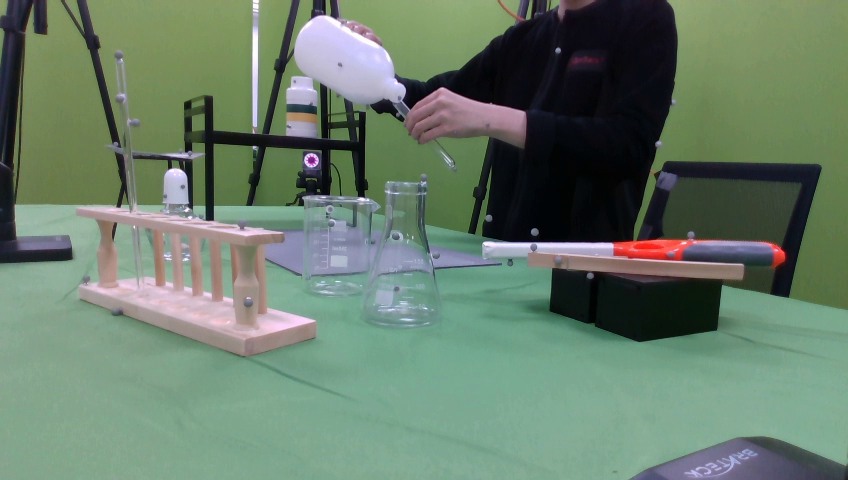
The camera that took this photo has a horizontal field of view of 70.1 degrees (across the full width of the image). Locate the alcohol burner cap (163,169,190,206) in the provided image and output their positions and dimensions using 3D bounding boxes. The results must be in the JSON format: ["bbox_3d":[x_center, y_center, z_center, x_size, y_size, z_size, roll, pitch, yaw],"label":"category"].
[{"bbox_3d":[-0.321,-0.068,0.782,0.034,0.048,0.034,1,7,0],"label":"alcohol burner cap"}]

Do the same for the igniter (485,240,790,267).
[{"bbox_3d":[0.197,0.012,0.585,0.276,0.025,0.057,1,5,12],"label":"igniter"}]

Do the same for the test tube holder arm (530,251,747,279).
[{"bbox_3d":[0.182,0.022,0.523,0.178,0.015,0.013,3,7,12],"label":"test tube holder arm"}]

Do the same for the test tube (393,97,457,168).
[{"bbox_3d":[0.001,-0.165,0.929,0.150,0.017,0.017,51,29,19],"label":"test tube"}]

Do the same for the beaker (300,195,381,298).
[{"bbox_3d":[-0.087,0.006,0.626,0.084,0.100,0.074,1,8,-17],"label":"beaker"}]

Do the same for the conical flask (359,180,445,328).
[{"bbox_3d":[-0.017,0.010,0.522,0.075,0.122,0.075,2,7,0],"label":"conical flask"}]

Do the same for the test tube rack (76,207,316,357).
[{"bbox_3d":[-0.196,0.023,0.500,0.241,0.085,0.067,8,9,36],"label":"test tube rack"}]

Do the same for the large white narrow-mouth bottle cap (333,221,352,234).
[{"bbox_3d":[-0.153,-0.024,1.134,0.038,0.024,0.037,4,7,0],"label":"large white narrow-mouth bottle cap"}]

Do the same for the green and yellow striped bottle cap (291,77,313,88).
[{"bbox_3d":[-0.250,-0.321,1.238,0.045,0.020,0.045,3,6,0],"label":"green and yellow striped bottle cap"}]

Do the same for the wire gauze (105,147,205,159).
[{"bbox_3d":[-0.407,-0.131,0.928,0.125,0.011,0.121,2,6,-11],"label":"wire gauze"}]

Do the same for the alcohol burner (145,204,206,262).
[{"bbox_3d":[-0.322,-0.032,0.788,0.078,0.119,0.078,0,7,0],"label":"alcohol burner"}]

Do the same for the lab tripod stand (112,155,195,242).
[{"bbox_3d":[-0.405,-0.064,0.931,0.148,0.131,0.148,1,6,0],"label":"lab tripod stand"}]

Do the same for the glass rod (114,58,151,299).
[{"bbox_3d":[-0.236,-0.044,0.492,0.008,0.199,0.008,0,15,0],"label":"glass rod"}]

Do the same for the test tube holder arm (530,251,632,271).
[{"bbox_3d":[0.139,0.019,0.538,0.087,0.015,0.010,3,7,13],"label":"test tube holder arm"}]

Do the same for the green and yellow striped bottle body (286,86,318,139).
[{"bbox_3d":[-0.251,-0.270,1.245,0.063,0.119,0.063,2,8,0],"label":"green and yellow striped bottle body"}]

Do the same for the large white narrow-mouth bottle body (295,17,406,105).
[{"bbox_3d":[-0.111,-0.280,0.984,0.194,0.101,0.102,35,20,20],"label":"large white narrow-mouth bottle body"}]
